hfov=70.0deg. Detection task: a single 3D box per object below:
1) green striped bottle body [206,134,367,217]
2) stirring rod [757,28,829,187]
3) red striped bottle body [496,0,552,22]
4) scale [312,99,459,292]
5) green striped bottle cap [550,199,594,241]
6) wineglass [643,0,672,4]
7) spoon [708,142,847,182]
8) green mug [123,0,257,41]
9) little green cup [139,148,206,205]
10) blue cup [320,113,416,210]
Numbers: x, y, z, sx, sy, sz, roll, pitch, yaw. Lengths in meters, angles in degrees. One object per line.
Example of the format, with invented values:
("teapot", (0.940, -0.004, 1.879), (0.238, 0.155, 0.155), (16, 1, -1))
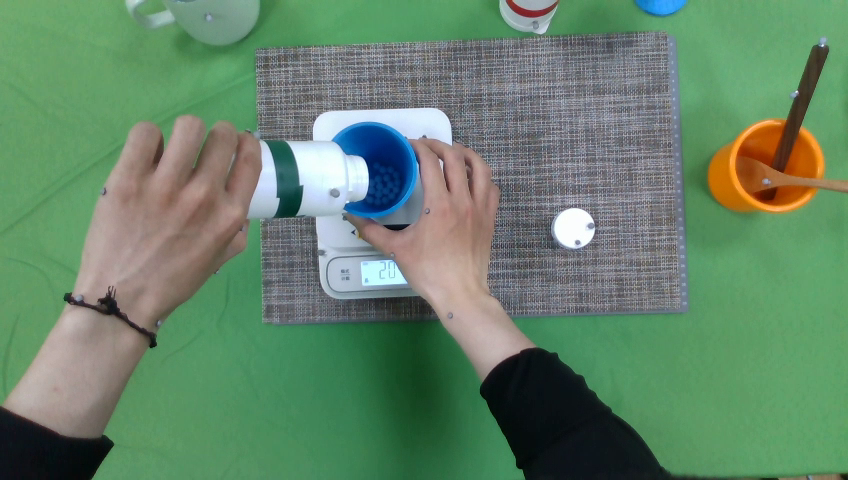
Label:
("green striped bottle body", (-0.107, -0.053, 0.485), (0.120, 0.063, 0.063), (-6, 88, -30))
("stirring rod", (0.350, -0.118, 0.580), (0.014, 0.178, 0.006), (7, 48, 16))
("red striped bottle body", (0.107, -0.269, 0.603), (0.063, 0.120, 0.063), (0, 88, 1))
("scale", (-0.041, -0.047, 0.643), (0.148, 0.031, 0.200), (-3, 89, 2))
("green striped bottle cap", (0.158, -0.022, 0.646), (0.044, 0.020, 0.044), (0, 86, 2))
("wineglass", (0.250, -0.291, 0.573), (0.074, 0.172, 0.073), (0, 88, 2))
("spoon", (0.371, -0.067, 0.579), (0.022, 0.192, 0.041), (5, 98, -41))
("green mug", (-0.243, -0.256, 0.619), (0.125, 0.105, 0.092), (-25, 88, 1))
("little green cup", (-0.266, -0.065, 0.649), (0.061, 0.038, 0.061), (0, 88, 0))
("blue cup", (-0.049, -0.068, 0.578), (0.092, 0.100, 0.092), (0, 90, 0))
